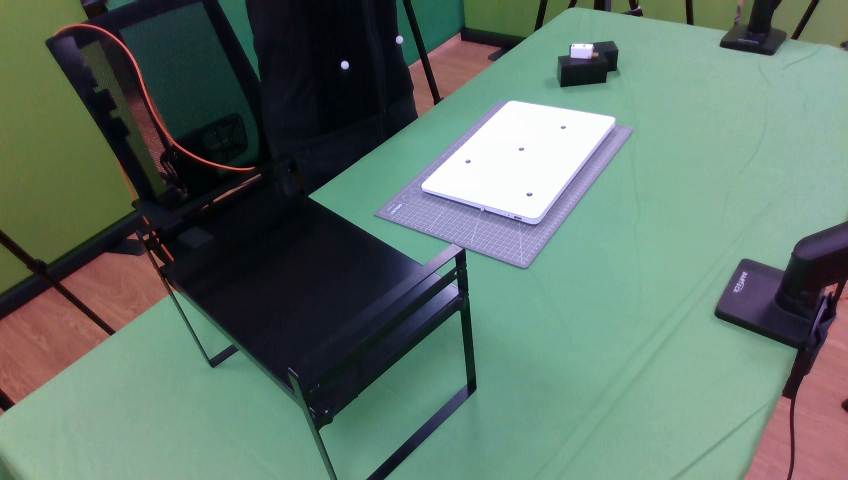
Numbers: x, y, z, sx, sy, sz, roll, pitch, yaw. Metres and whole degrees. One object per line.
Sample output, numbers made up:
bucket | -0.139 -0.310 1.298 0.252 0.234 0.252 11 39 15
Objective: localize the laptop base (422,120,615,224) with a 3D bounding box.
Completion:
laptop base | 0.185 -0.158 1.133 0.234 0.023 0.355 17 46 30

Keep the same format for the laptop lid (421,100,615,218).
laptop lid | 0.182 -0.167 1.126 0.240 0.013 0.357 19 47 31

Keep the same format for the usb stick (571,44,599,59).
usb stick | 0.352 -0.412 1.322 0.059 0.027 0.021 13 44 19
